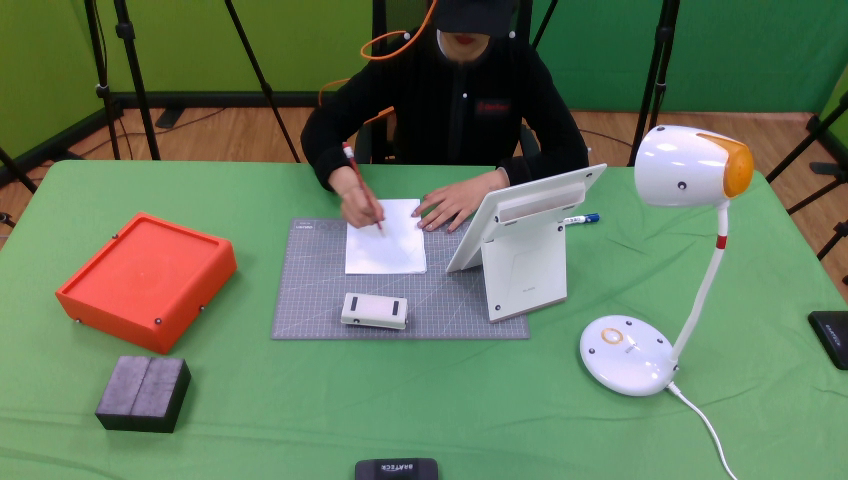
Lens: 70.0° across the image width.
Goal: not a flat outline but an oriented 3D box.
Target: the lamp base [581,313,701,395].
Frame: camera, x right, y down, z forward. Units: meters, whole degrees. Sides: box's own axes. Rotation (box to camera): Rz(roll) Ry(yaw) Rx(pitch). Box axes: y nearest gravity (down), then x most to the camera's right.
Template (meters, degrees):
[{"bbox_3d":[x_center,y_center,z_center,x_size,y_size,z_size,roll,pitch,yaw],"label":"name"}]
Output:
[{"bbox_3d":[0.361,0.144,0.973,0.178,0.181,0.160,34,53,23],"label":"lamp base"}]

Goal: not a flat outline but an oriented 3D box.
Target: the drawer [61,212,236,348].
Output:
[{"bbox_3d":[-0.473,0.064,1.060,0.194,0.073,0.211,18,48,11],"label":"drawer"}]

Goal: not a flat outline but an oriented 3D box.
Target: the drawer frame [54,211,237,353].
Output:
[{"bbox_3d":[-0.473,0.067,1.055,0.201,0.083,0.212,17,48,11],"label":"drawer frame"}]

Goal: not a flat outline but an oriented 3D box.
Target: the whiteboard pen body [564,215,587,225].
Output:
[{"bbox_3d":[0.291,-0.040,1.261,0.141,0.017,0.017,-6,47,-11],"label":"whiteboard pen body"}]

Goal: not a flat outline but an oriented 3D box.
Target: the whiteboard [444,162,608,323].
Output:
[{"bbox_3d":[0.186,0.026,1.028,0.217,0.306,0.143,-14,68,-17],"label":"whiteboard"}]

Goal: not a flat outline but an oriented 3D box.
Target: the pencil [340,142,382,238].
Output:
[{"bbox_3d":[-0.117,-0.094,1.141,0.012,0.012,0.194,-25,97,-25],"label":"pencil"}]

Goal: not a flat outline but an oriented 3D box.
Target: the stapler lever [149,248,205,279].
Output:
[{"bbox_3d":[-0.443,0.038,1.084,0.118,0.040,0.027,19,50,17],"label":"stapler lever"}]

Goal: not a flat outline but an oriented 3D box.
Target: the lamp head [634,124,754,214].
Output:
[{"bbox_3d":[0.351,-0.089,0.776,0.112,0.113,0.122,-30,30,-28],"label":"lamp head"}]

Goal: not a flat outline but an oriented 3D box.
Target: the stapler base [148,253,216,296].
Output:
[{"bbox_3d":[-0.443,0.058,1.108,0.130,0.024,0.041,24,51,11],"label":"stapler base"}]

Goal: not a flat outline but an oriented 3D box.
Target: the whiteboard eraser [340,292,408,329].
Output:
[{"bbox_3d":[-0.087,0.125,1.052,0.113,0.042,0.055,5,45,1],"label":"whiteboard eraser"}]

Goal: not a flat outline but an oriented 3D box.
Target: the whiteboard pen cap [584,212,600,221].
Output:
[{"bbox_3d":[0.351,-0.048,1.271,0.033,0.018,0.018,-6,47,-11],"label":"whiteboard pen cap"}]
